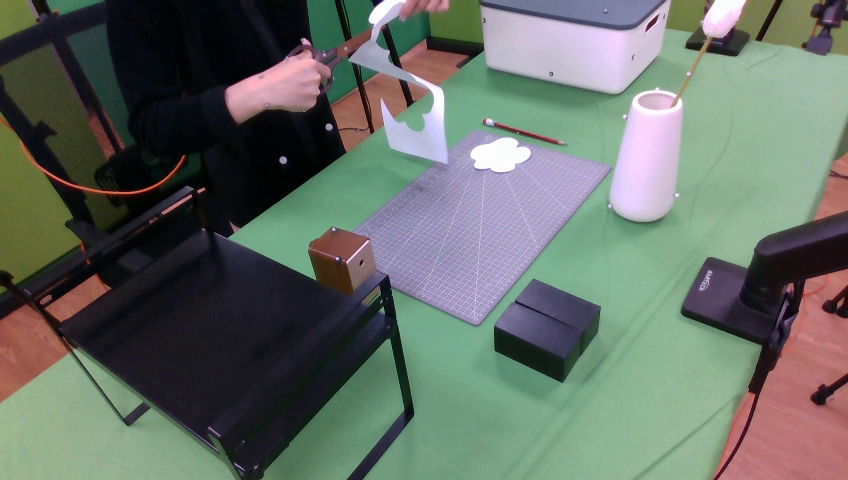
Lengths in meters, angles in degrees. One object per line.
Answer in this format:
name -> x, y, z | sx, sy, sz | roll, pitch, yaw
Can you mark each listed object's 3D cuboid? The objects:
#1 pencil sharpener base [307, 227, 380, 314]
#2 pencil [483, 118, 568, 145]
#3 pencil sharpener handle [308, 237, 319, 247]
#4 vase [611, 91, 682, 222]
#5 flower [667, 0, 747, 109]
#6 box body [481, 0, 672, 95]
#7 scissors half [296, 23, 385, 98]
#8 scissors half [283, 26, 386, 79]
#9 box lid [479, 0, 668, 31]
pencil sharpener base -> -0.116, 0.043, 0.875 | 0.076, 0.107, 0.061 | 18, 47, 28
pencil -> 0.201, -0.217, 1.212 | 0.192, 0.012, 0.012 | 24, 49, 29
pencil sharpener handle -> -0.159, 0.017, 0.892 | 0.030, 0.068, 0.036 | 18, 61, 28
vase -> 0.348, -0.125, 0.935 | 0.098, 0.201, 0.097 | -3, 40, 3
flower -> 0.354, -0.187, 0.879 | 0.038, 0.362, 0.044 | 30, 48, 14
box body -> 0.341, -0.480, 1.381 | 0.361, 0.161, 0.255 | 22, 48, 30
scissors half -> -0.127, -0.281, 0.943 | 0.175, 0.040, 0.012 | -43, 23, -3
scissors half -> -0.137, -0.297, 0.934 | 0.175, 0.040, 0.012 | -26, 26, -11
box lid -> 0.335, -0.536, 1.331 | 0.368, 0.015, 0.264 | 23, 49, 30
